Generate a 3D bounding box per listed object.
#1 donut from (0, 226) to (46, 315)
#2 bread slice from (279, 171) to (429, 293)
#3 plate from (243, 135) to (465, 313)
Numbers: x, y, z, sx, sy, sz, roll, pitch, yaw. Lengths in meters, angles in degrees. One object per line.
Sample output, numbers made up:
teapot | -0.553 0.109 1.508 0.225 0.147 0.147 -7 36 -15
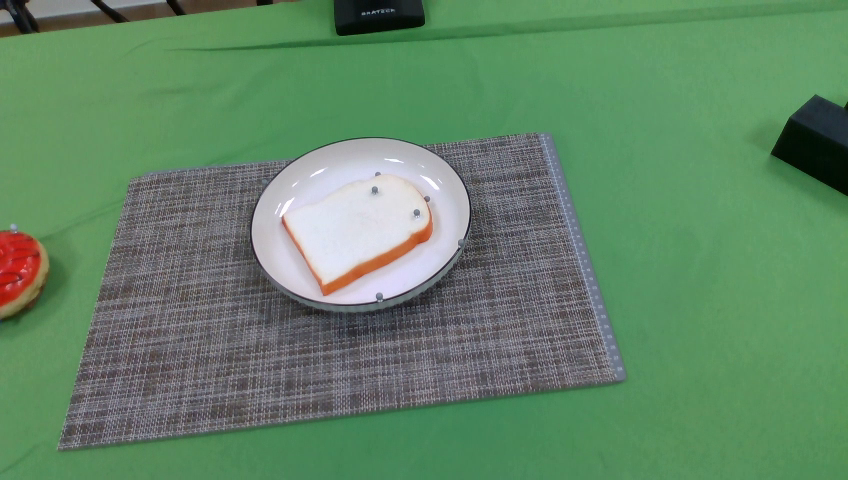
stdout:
donut | -0.407 0.029 0.567 0.099 0.049 0.098 -3 53 4
bread slice | -0.064 -0.018 0.582 0.131 0.019 0.104 -28 57 -16
plate | -0.064 -0.016 0.579 0.207 0.039 0.205 -2 53 2
